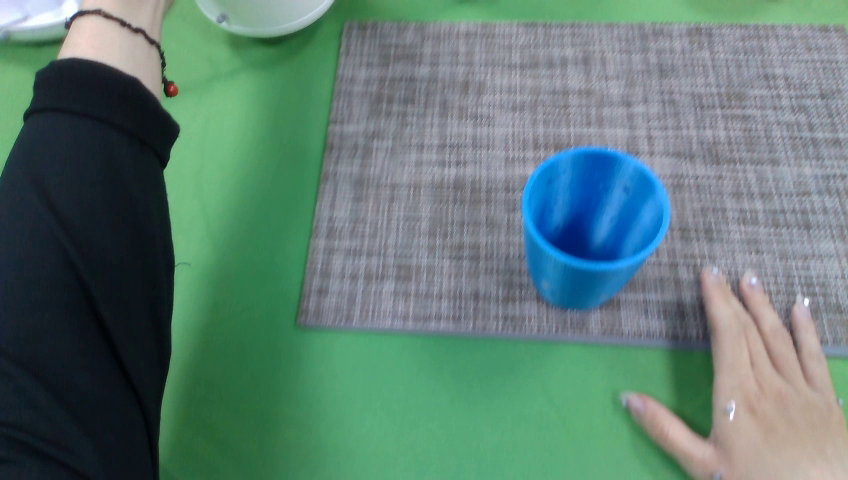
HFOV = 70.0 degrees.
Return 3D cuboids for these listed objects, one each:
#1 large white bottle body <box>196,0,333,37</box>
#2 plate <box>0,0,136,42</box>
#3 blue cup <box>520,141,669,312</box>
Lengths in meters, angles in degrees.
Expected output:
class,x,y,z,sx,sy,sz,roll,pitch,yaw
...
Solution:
class,x,y,z,sx,sy,sz,roll,pitch,yaw
large white bottle body,-0.144,-0.270,0.471,0.130,0.186,0.129,-1,64,2
plate,-0.356,-0.269,0.594,0.207,0.039,0.206,-1,63,2
blue cup,0.102,0.002,0.396,0.092,0.101,0.092,-2,63,4
